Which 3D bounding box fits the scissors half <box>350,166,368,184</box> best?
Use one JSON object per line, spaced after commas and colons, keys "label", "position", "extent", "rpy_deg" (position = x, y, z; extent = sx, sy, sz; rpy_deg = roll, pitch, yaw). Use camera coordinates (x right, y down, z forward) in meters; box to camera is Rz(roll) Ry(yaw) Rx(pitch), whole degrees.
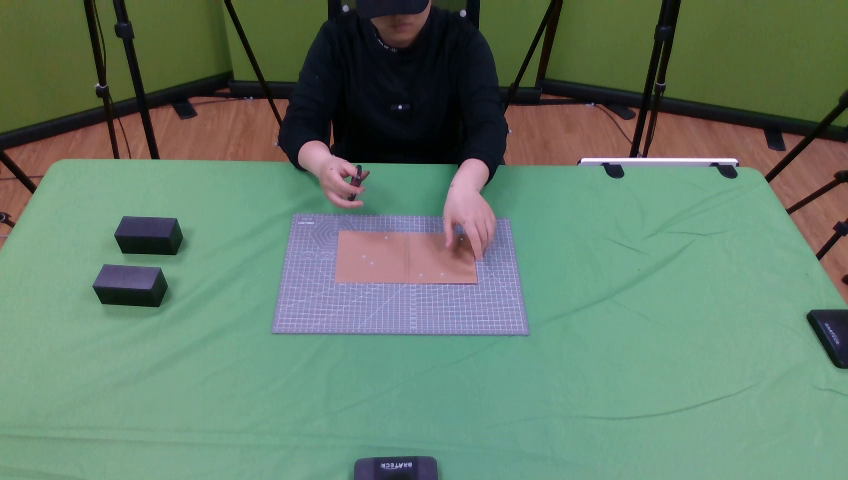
{"label": "scissors half", "position": [-0.122, -0.125, 1.146], "extent": [0.013, 0.040, 0.175], "rpy_deg": [13, -1, -14]}

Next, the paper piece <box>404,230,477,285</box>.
{"label": "paper piece", "position": [0.030, 0.033, 1.174], "extent": [0.138, 0.009, 0.135], "rpy_deg": [2, 50, -4]}

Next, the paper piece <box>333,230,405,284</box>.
{"label": "paper piece", "position": [-0.104, 0.031, 1.165], "extent": [0.135, 0.004, 0.135], "rpy_deg": [2, 47, -4]}

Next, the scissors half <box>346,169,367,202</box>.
{"label": "scissors half", "position": [-0.127, -0.106, 1.143], "extent": [0.013, 0.175, 0.040], "rpy_deg": [18, 73, -13]}
